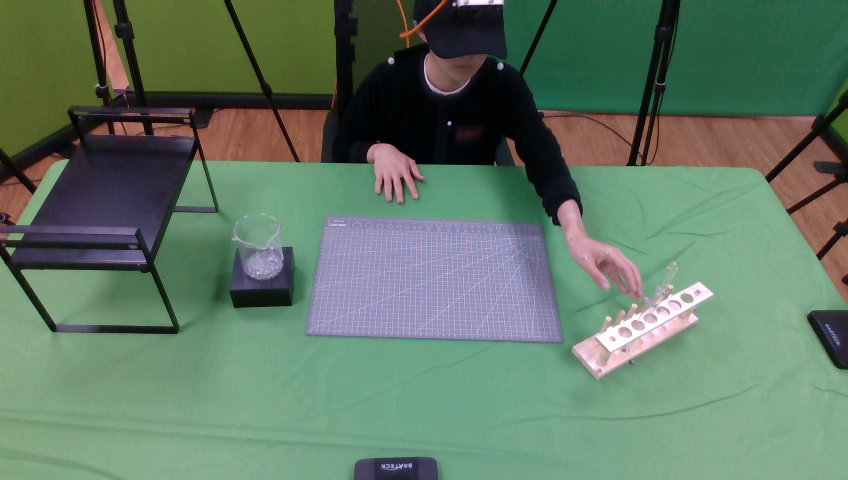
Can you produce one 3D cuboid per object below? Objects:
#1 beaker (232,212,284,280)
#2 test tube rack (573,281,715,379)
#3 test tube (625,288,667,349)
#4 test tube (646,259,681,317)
[{"bbox_3d":[-0.280,0.016,1.037,0.074,0.101,0.083,-19,50,-20],"label":"beaker"},{"bbox_3d":[0.378,0.140,1.038,0.242,0.085,0.066,-22,51,-23],"label":"test tube rack"},{"bbox_3d":[0.355,0.130,0.976,0.017,0.151,0.017,5,45,-5],"label":"test tube"},{"bbox_3d":[0.406,0.083,1.033,0.017,0.151,0.017,2,48,-2],"label":"test tube"}]
